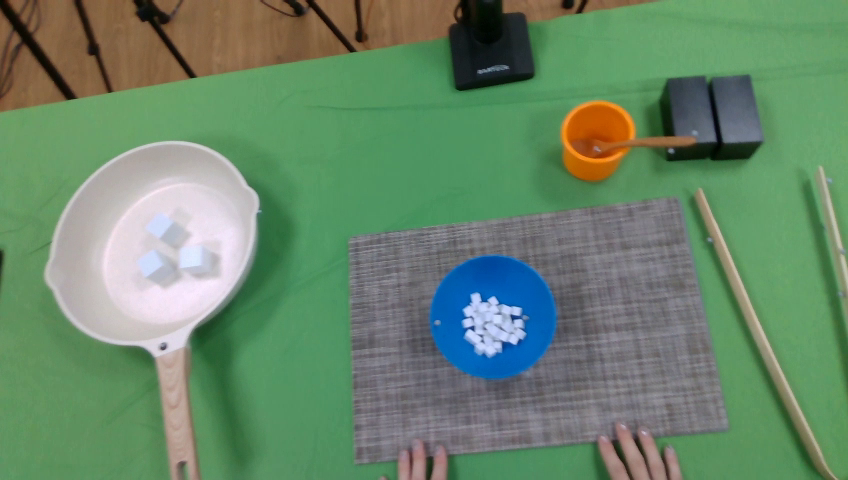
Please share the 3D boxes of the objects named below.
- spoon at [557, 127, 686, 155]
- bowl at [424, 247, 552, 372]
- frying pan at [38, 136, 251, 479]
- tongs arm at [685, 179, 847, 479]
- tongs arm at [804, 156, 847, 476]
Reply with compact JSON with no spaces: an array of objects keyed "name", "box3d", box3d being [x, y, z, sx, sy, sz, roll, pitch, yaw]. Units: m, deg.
[{"name":"spoon","box3d":[0.242,-0.129,0.765,0.022,0.192,0.041,40,74,-26]},{"name":"bowl","box3d":[0.080,0.092,0.748,0.151,0.077,0.150,-2,72,7]},{"name":"frying pan","box3d":[-0.344,0.085,0.797,0.307,0.103,0.483,-20,62,2]},{"name":"tongs arm","box3d":[0.404,0.096,0.735,0.028,0.028,0.384,-17,71,0]},{"name":"tongs arm","box3d":[0.483,0.080,0.725,0.051,0.027,0.382,-5,72,7]}]
